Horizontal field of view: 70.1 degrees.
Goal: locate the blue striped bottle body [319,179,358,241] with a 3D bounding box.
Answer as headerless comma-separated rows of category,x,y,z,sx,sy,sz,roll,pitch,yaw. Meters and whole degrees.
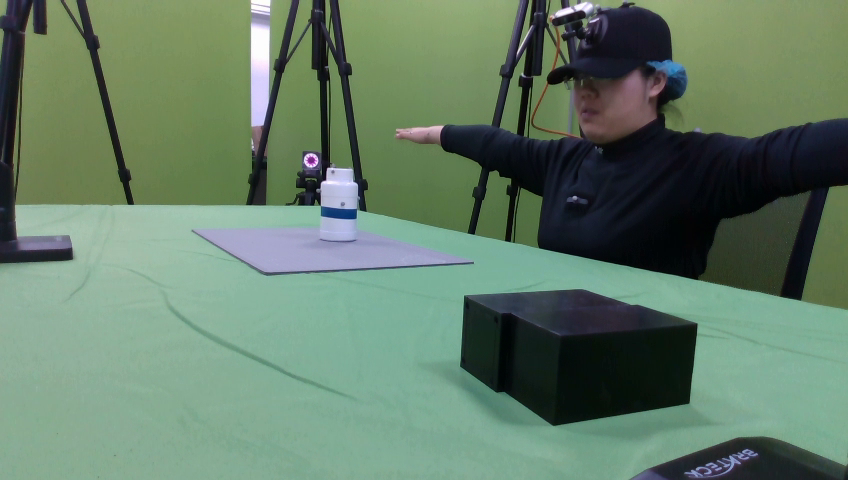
blue striped bottle body,-0.143,-0.061,1.018,0.063,0.120,0.063,2,7,0

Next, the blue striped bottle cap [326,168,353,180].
blue striped bottle cap,-0.141,-0.111,1.011,0.044,0.020,0.044,2,6,0
